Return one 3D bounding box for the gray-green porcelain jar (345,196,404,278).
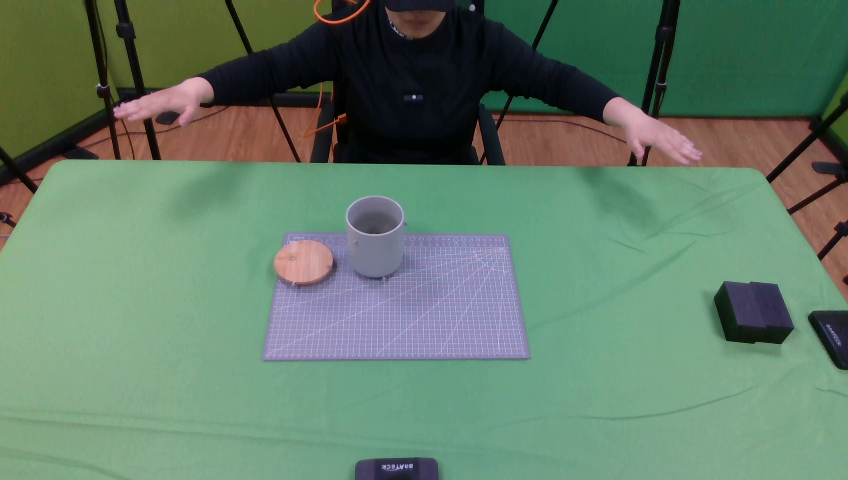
[{"bbox_3d":[-0.091,-0.001,1.117,0.106,0.127,0.105,2,46,-2],"label":"gray-green porcelain jar"}]

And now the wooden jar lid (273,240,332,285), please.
[{"bbox_3d":[-0.227,0.044,1.137,0.108,0.021,0.107,3,47,-3],"label":"wooden jar lid"}]
